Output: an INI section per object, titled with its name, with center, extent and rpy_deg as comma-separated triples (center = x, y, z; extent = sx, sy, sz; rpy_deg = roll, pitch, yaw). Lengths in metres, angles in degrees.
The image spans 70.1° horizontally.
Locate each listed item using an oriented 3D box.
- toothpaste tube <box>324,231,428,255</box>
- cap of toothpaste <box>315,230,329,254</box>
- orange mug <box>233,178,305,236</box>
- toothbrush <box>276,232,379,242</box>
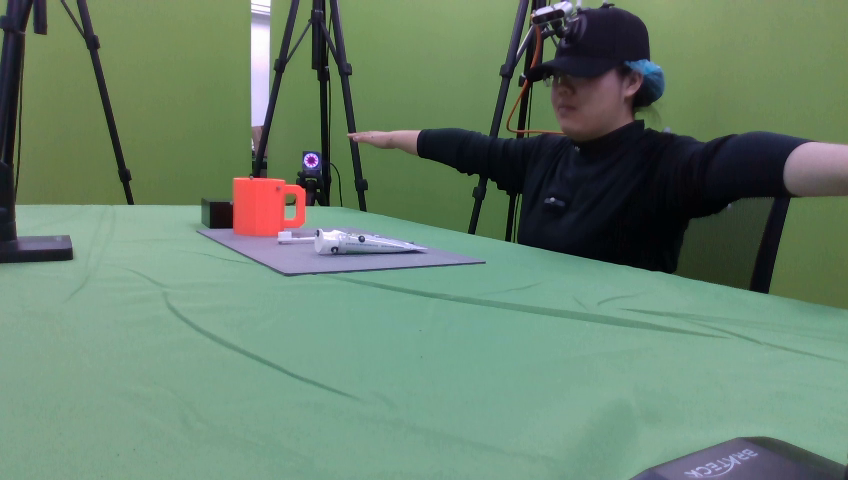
[toothpaste tube]
center = -0.076, 0.006, 0.893
extent = 0.166, 0.034, 0.055
rpy_deg = 1, 11, -32
[cap of toothpaste]
center = -0.144, 0.003, 0.854
extent = 0.011, 0.037, 0.037
rpy_deg = 2, 6, -30
[orange mug]
center = -0.273, -0.061, 1.067
extent = 0.127, 0.101, 0.083
rpy_deg = -5, 10, -24
[toothbrush]
center = -0.153, -0.005, 0.990
extent = 0.183, 0.016, 0.014
rpy_deg = -1, -6, -33
